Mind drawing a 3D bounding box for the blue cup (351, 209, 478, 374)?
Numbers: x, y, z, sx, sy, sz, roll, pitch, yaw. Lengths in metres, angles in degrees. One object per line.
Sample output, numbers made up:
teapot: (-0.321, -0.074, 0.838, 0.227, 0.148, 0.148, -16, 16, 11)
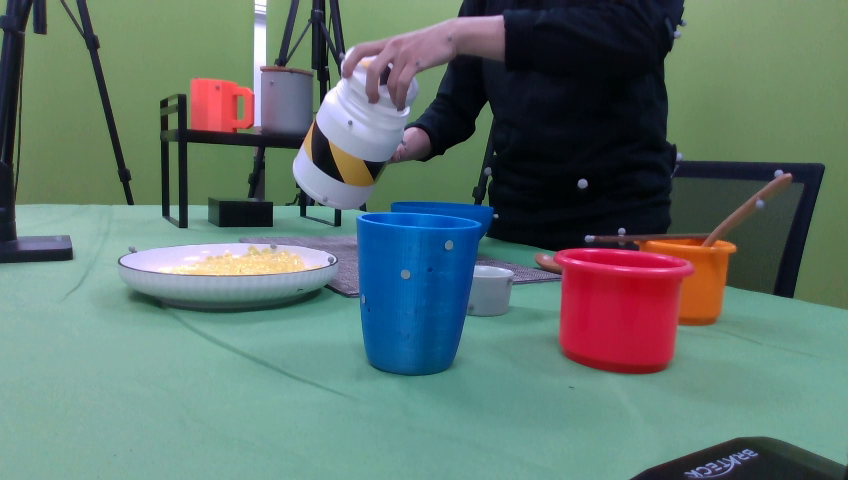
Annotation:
blue cup: (-0.009, 0.034, 0.414, 0.093, 0.100, 0.092, 4, 9, 0)

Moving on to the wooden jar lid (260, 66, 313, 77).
wooden jar lid: (-0.283, -0.339, 1.245, 0.108, 0.020, 0.108, 5, 9, 0)

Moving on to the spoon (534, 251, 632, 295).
spoon: (0.193, 0.038, 0.753, 0.042, 0.021, 0.193, 15, 2, -21)

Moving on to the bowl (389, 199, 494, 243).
bowl: (0.023, -0.015, 0.872, 0.151, 0.077, 0.151, 3, 7, 0)

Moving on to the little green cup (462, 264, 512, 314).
little green cup: (0.053, 0.047, 0.580, 0.061, 0.038, 0.061, 3, 8, 0)

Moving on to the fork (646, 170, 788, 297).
fork: (0.256, 0.004, 0.543, 0.028, 0.018, 0.207, 3, -37, -10)

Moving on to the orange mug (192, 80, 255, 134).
orange mug: (-0.389, -0.257, 1.173, 0.126, 0.100, 0.083, -1, 7, 9)

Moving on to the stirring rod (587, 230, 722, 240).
stirring rod: (0.227, -0.005, 0.585, 0.177, 0.006, 0.014, -2, 7, -28)

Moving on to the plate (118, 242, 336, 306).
plate: (-0.194, 0.033, 0.615, 0.209, 0.038, 0.209, 2, 7, 0)

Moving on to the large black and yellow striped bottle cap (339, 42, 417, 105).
large black and yellow striped bottle cap: (-0.064, -0.239, 0.865, 0.115, 0.019, 0.114, 20, 43, -19)

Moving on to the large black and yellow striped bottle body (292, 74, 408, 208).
large black and yellow striped bottle body: (-0.114, -0.155, 0.936, 0.131, 0.183, 0.130, 23, 35, -17)

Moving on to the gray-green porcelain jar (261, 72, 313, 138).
gray-green porcelain jar: (-0.284, -0.276, 1.253, 0.106, 0.126, 0.106, 2, 8, 0)
